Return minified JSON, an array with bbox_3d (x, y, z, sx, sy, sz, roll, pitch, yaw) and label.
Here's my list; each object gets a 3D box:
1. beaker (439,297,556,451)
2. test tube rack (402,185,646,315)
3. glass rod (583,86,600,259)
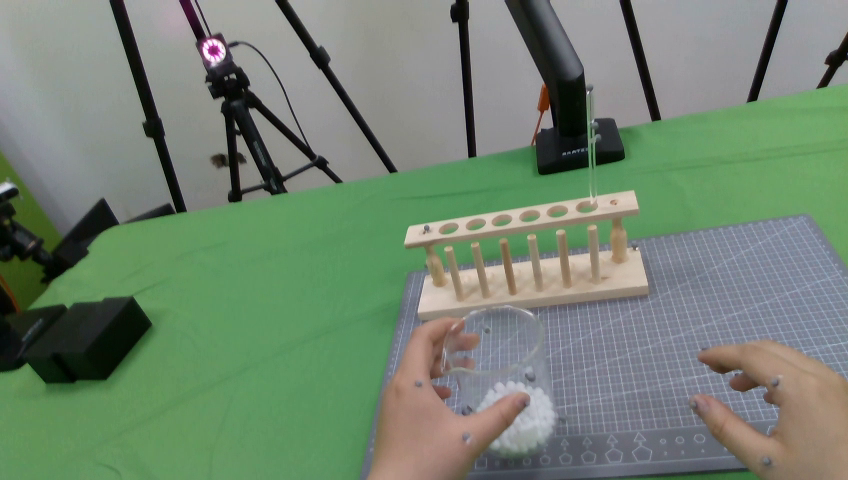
[{"bbox_3d":[0.059,0.107,0.467,0.084,0.101,0.073,-27,33,-15],"label":"beaker"},{"bbox_3d":[0.102,0.014,0.644,0.242,0.086,0.066,-9,35,15],"label":"test tube rack"},{"bbox_3d":[0.166,-0.058,0.594,0.008,0.202,0.008,-10,37,8],"label":"glass rod"}]
